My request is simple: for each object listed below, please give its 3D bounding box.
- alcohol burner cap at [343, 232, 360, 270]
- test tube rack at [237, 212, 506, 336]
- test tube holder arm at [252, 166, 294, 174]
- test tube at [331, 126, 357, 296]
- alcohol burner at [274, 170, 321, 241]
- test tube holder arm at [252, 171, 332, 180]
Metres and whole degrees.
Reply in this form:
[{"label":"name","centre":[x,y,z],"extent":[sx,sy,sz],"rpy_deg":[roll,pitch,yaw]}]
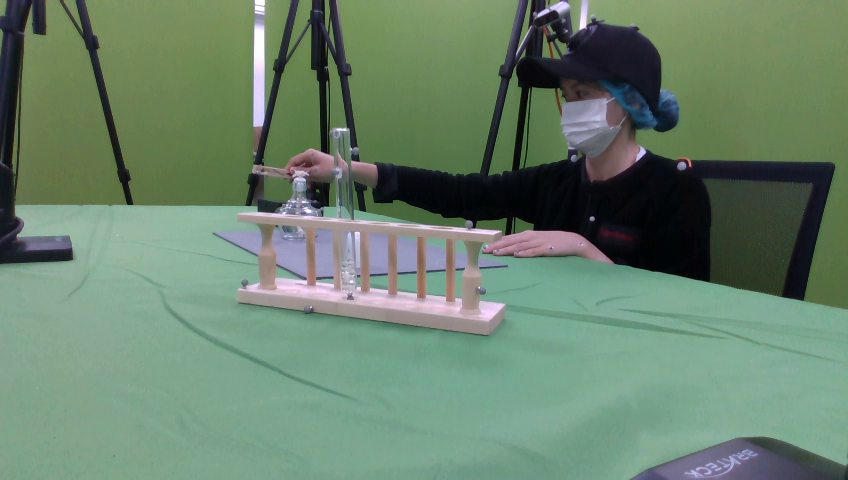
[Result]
[{"label":"alcohol burner cap","centre":[-0.087,0.013,0.777],"extent":[0.034,0.048,0.034],"rpy_deg":[3,7,0]},{"label":"test tube rack","centre":[-0.049,0.024,0.552],"extent":[0.242,0.085,0.067],"rpy_deg":[5,8,19]},{"label":"test tube holder arm","centre":[-0.301,-0.139,1.212],"extent":[0.088,0.010,0.015],"rpy_deg":[1,10,-42]},{"label":"test tube","centre":[-0.070,-0.025,0.534],"extent":[0.017,0.150,0.017],"rpy_deg":[-2,8,1]},{"label":"alcohol burner","centre":[-0.212,-0.058,1.015],"extent":[0.078,0.119,0.078],"rpy_deg":[4,5,0]},{"label":"test tube holder arm","centre":[-0.268,-0.132,1.243],"extent":[0.179,0.013,0.015],"rpy_deg":[1,11,-42]}]
